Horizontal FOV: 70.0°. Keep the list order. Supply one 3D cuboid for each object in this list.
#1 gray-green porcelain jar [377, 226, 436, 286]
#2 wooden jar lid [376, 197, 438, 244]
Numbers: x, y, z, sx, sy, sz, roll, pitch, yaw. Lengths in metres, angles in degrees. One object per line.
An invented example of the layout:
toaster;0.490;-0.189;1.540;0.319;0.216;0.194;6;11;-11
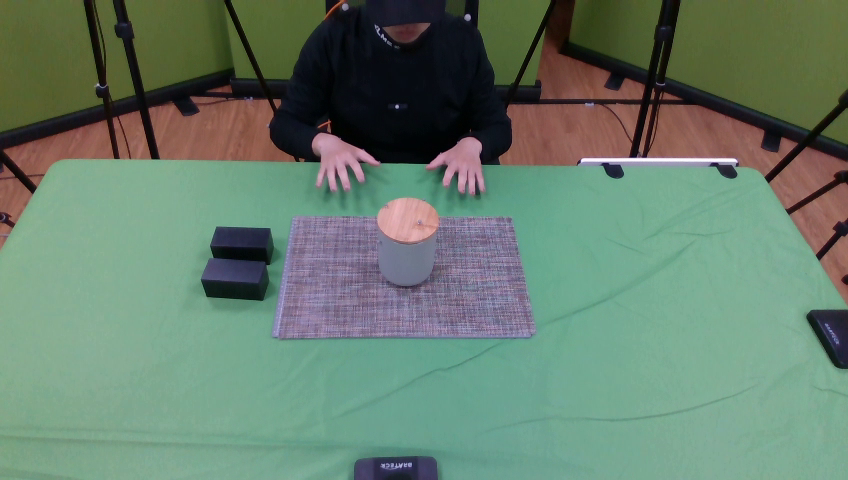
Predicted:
gray-green porcelain jar;-0.033;0.014;1.105;0.106;0.127;0.105;2;46;-2
wooden jar lid;-0.029;-0.031;1.060;0.108;0.021;0.107;2;47;-2
